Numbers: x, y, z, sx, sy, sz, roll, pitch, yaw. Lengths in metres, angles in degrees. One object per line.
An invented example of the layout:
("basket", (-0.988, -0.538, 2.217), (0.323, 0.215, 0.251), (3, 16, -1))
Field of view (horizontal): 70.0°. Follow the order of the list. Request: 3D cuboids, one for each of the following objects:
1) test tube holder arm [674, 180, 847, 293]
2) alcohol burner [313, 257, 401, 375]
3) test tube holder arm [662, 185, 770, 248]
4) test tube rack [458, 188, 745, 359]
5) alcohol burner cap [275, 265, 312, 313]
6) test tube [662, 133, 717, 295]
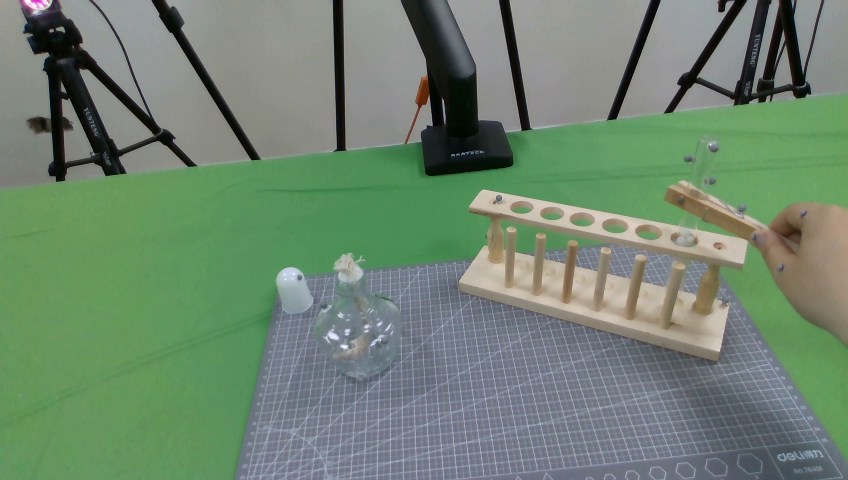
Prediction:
("test tube holder arm", (0.266, 0.000, 0.462), (0.013, 0.015, 0.176), (-25, 46, -28))
("alcohol burner", (-0.060, 0.060, 0.522), (0.078, 0.120, 0.077), (-3, 39, 3))
("test tube holder arm", (0.233, -0.020, 0.486), (0.010, 0.015, 0.087), (-30, 48, -33))
("test tube rack", (0.152, 0.025, 0.561), (0.241, 0.086, 0.066), (14, 42, 25))
("alcohol burner cap", (-0.133, 0.047, 0.610), (0.034, 0.048, 0.033), (-3, 38, 3))
("test tube", (0.222, -0.017, 0.511), (0.017, 0.151, 0.017), (0, 30, 1))
